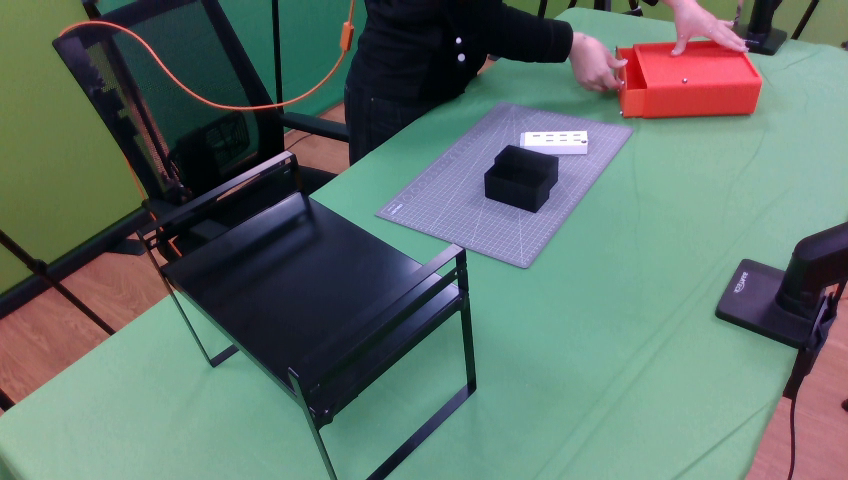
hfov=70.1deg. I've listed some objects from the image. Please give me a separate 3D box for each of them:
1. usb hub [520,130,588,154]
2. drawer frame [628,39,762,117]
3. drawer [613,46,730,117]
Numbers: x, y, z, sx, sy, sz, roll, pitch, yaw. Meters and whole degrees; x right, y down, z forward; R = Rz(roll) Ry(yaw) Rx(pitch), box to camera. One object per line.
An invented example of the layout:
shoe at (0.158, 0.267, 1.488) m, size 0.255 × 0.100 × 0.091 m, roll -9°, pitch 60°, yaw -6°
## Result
usb hub at (0.247, -0.185, 1.147) m, size 0.125 × 0.025 × 0.049 m, roll 1°, pitch 43°, yaw 10°
drawer frame at (0.540, -0.332, 1.234) m, size 0.213 × 0.083 × 0.201 m, roll 0°, pitch 41°, yaw 7°
drawer at (0.505, -0.328, 1.243) m, size 0.211 × 0.073 × 0.194 m, roll 2°, pitch 40°, yaw 7°
